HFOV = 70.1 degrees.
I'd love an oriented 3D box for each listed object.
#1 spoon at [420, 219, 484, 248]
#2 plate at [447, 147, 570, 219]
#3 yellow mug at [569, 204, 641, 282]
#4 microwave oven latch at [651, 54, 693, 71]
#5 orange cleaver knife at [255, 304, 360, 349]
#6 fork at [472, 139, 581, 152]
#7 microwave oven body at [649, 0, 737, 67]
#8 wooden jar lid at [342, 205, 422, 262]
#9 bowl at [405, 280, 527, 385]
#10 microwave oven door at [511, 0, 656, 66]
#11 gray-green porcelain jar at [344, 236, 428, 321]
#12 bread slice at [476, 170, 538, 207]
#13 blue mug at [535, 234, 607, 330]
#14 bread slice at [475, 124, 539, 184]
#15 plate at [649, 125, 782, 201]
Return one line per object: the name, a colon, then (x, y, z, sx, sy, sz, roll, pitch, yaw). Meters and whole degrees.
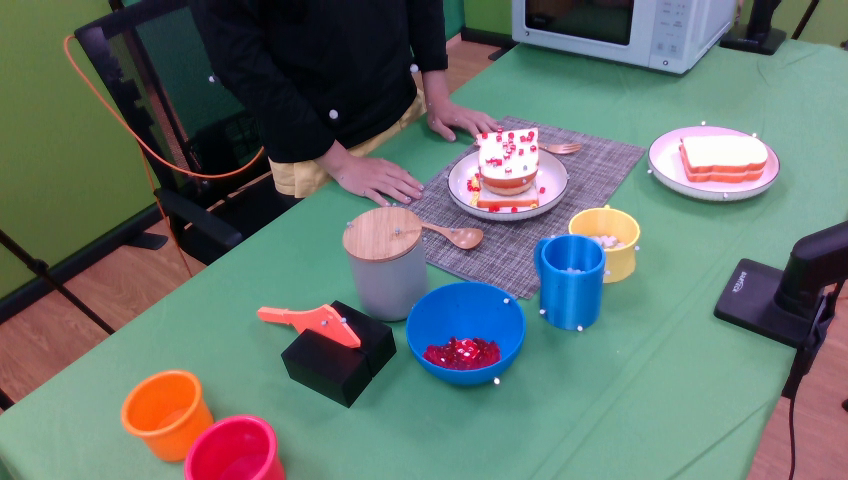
spoon: (0.010, -0.022, 0.989, 0.192, 0.022, 0.041, 17, 67, 25)
plate: (0.145, -0.098, 1.046, 0.209, 0.038, 0.208, -4, 40, 4)
yellow mug: (0.268, -0.005, 0.904, 0.099, 0.064, 0.130, 7, 41, 15)
microwave oven latch: (0.532, -0.386, 1.301, 0.078, 0.029, 0.030, 27, 52, 34)
orange cleaver knife: (-0.161, 0.115, 0.813, 0.210, 0.077, 0.012, -4, 32, 47)
fork: (0.193, -0.184, 1.153, 0.206, 0.019, 0.028, 7, 50, 14)
microwave oven body: (0.475, -0.602, 1.411, 0.438, 0.261, 0.327, 23, 50, 32)
wooden jar lid: (-0.055, -0.006, 0.808, 0.108, 0.021, 0.108, -6, 40, 6)
bowl: (0.055, 0.131, 0.768, 0.151, 0.077, 0.150, -4, 40, 4)
microwave oven door: (0.351, -0.539, 1.349, 0.353, 0.245, 0.039, 24, 50, 31)
gray-green porcelain jar: (-0.049, 0.042, 0.849, 0.106, 0.127, 0.105, -4, 41, 4)
bread slice: (0.144, -0.104, 1.058, 0.105, 0.019, 0.131, 0, 43, 5)
blue mug: (0.191, 0.048, 0.824, 0.082, 0.106, 0.115, -26, 44, -21)
bread slice: (0.143, -0.144, 1.009, 0.107, 0.018, 0.133, -7, 46, 7)
plate: (0.493, -0.128, 1.036, 0.207, 0.039, 0.206, -4, 41, 4)
